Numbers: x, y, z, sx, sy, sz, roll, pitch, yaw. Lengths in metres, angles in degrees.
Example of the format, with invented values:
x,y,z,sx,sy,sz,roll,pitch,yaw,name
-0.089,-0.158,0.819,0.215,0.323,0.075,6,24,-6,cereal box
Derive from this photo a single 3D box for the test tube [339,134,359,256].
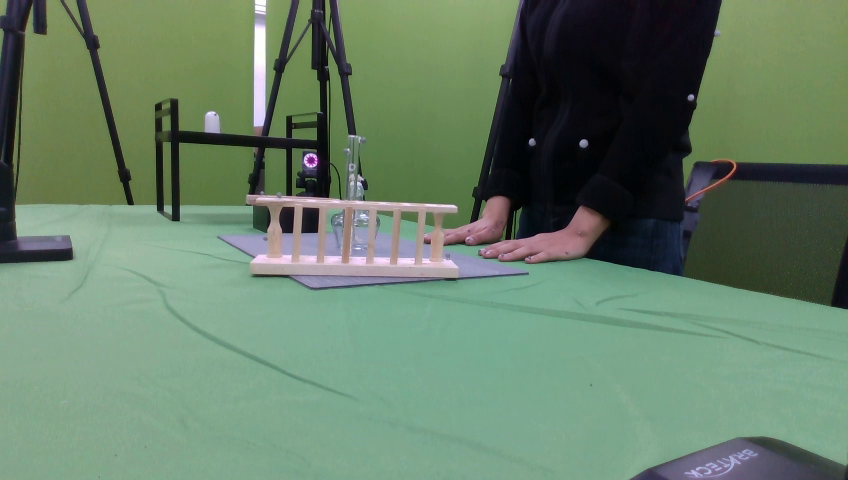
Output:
x,y,z,sx,sy,sz,roll,pitch,yaw,name
-0.092,-0.054,0.743,0.017,0.150,0.017,4,5,0,test tube

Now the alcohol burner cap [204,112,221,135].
x,y,z,sx,sy,sz,roll,pitch,yaw,name
-0.444,-0.245,1.270,0.034,0.048,0.034,4,8,0,alcohol burner cap

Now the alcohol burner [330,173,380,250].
x,y,z,sx,sy,sz,roll,pitch,yaw,name
-0.107,-0.044,0.938,0.078,0.119,0.078,1,6,0,alcohol burner

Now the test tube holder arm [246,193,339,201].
x,y,z,sx,sy,sz,roll,pitch,yaw,name
-0.244,-0.081,1.140,0.179,0.013,0.015,-6,21,-31,test tube holder arm

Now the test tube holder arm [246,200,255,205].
x,y,z,sx,sy,sz,roll,pitch,yaw,name
-0.283,-0.072,1.118,0.088,0.010,0.015,-6,21,-31,test tube holder arm

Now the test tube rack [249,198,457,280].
x,y,z,sx,sy,sz,roll,pitch,yaw,name
-0.082,-0.002,0.733,0.243,0.085,0.066,2,8,-7,test tube rack
